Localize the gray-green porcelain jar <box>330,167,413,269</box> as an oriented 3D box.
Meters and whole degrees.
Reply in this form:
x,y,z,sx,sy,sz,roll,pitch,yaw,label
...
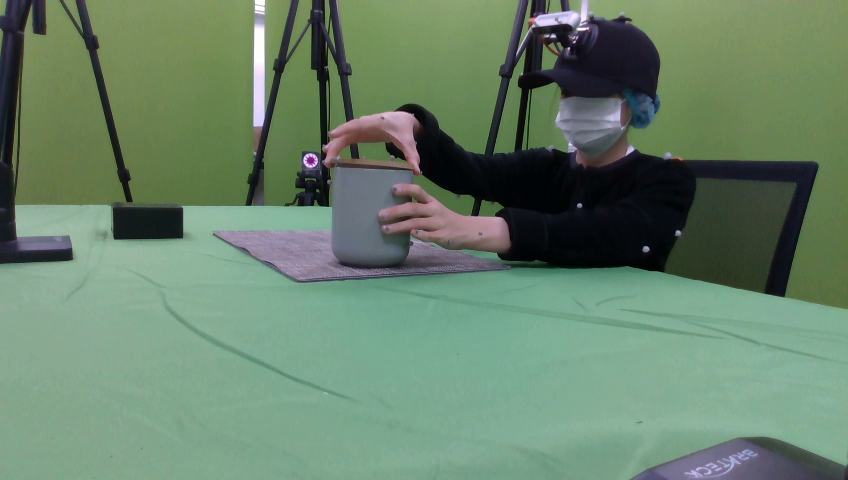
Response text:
x,y,z,sx,sy,sz,roll,pitch,yaw,label
-0.069,-0.030,0.791,0.106,0.126,0.106,3,7,0,gray-green porcelain jar

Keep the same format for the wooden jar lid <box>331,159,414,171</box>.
x,y,z,sx,sy,sz,roll,pitch,yaw,label
-0.067,-0.091,0.783,0.108,0.020,0.108,5,6,0,wooden jar lid
